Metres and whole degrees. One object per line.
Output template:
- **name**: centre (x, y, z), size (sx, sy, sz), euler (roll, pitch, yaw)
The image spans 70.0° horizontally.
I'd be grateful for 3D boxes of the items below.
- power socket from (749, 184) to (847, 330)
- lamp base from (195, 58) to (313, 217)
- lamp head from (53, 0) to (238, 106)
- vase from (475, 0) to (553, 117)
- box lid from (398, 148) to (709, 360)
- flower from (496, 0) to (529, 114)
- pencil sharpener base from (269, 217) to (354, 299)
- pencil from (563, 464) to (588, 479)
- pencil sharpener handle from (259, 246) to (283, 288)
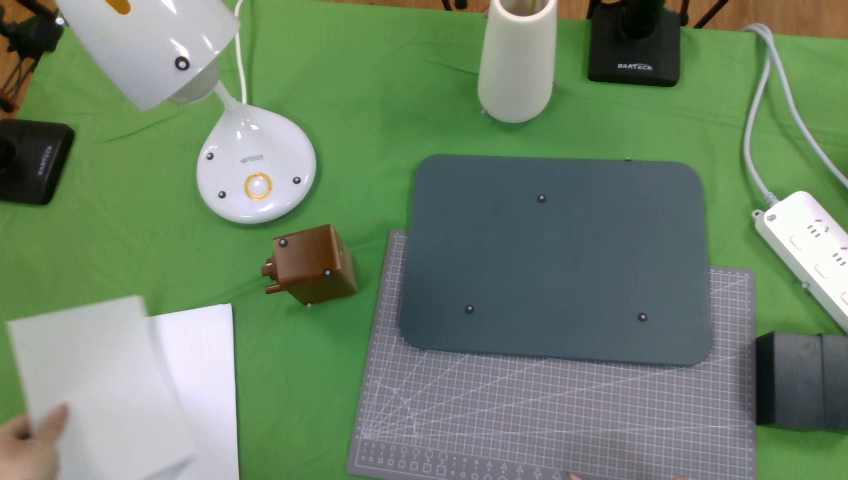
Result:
- **power socket**: centre (0.485, 0.031, 0.713), size (0.072, 0.033, 0.225), euler (-32, 72, -7)
- **lamp base**: centre (-0.239, -0.140, 0.744), size (0.160, 0.181, 0.178), euler (-23, 69, -3)
- **lamp head**: centre (-0.225, -0.185, 0.467), size (0.112, 0.124, 0.111), euler (-28, 32, 20)
- **vase**: centre (0.113, -0.235, 0.741), size (0.098, 0.201, 0.097), euler (-1, 70, 3)
- **box lid**: centre (0.160, 0.009, 0.755), size (0.371, 0.015, 0.261), euler (3, 72, 5)
- **flower**: centre (0.118, -0.274, 0.666), size (0.044, 0.364, 0.038), euler (-16, 59, -17)
- **pencil sharpener base**: centre (-0.133, 0.025, 0.721), size (0.077, 0.108, 0.061), euler (-13, 71, 0)
- **pencil**: centre (0.211, 0.281, 0.596), size (0.194, 0.012, 0.012), euler (40, 78, -2)
- **pencil sharpener handle**: centre (-0.183, 0.036, 0.708), size (0.030, 0.068, 0.035), euler (-14, 58, 0)
